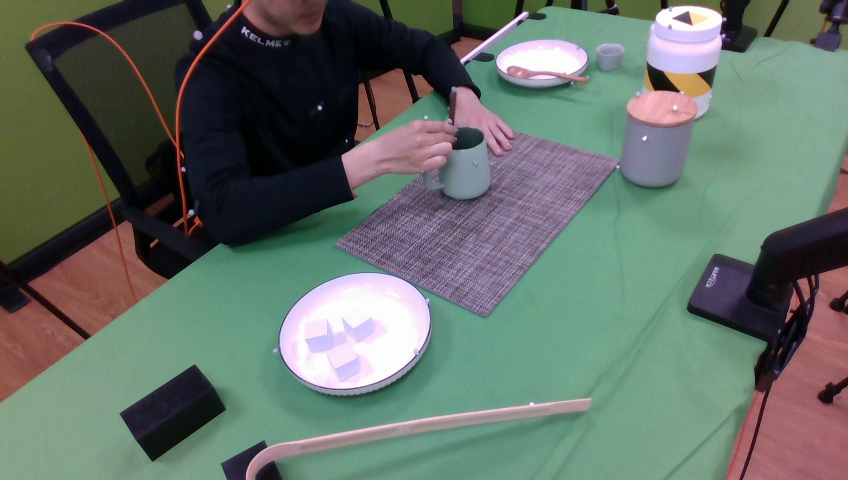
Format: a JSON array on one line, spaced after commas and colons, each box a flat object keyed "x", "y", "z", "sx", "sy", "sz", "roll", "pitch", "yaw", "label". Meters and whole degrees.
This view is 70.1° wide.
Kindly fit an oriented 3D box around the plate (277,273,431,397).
[{"x": -0.091, "y": 0.129, "z": 0.821, "sx": 0.207, "sy": 0.039, "sz": 0.206, "roll": -4, "pitch": 40, "yaw": 4, "label": "plate"}]

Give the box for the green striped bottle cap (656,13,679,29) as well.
[{"x": 0.515, "y": -0.463, "z": 1.278, "sx": 0.044, "sy": 0.020, "sz": 0.044, "roll": -6, "pitch": 42, "yaw": 6, "label": "green striped bottle cap"}]

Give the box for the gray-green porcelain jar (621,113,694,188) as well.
[{"x": 0.390, "y": -0.161, "z": 1.020, "sx": 0.106, "sy": 0.127, "sz": 0.105, "roll": -4, "pitch": 41, "yaw": 4, "label": "gray-green porcelain jar"}]

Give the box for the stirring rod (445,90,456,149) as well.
[{"x": 0.042, "y": -0.167, "z": 1.011, "sx": 0.006, "sy": 0.176, "sz": 0.014, "roll": 24, "pitch": 42, "yaw": 25, "label": "stirring rod"}]

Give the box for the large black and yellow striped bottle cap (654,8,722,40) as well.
[{"x": 0.483, "y": -0.397, "z": 1.108, "sx": 0.115, "sy": 0.019, "sz": 0.114, "roll": -3, "pitch": 41, "yaw": 3, "label": "large black and yellow striped bottle cap"}]

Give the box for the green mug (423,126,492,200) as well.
[{"x": 0.055, "y": -0.125, "z": 1.039, "sx": 0.126, "sy": 0.105, "sz": 0.091, "roll": -25, "pitch": 44, "yaw": -19, "label": "green mug"}]

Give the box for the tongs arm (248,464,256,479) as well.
[{"x": 0.012, "y": 0.262, "z": 0.615, "sx": 0.385, "sy": 0.026, "sz": 0.050, "roll": 3, "pitch": 41, "yaw": -2, "label": "tongs arm"}]

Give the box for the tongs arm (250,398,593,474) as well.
[{"x": 0.008, "y": 0.212, "z": 0.675, "sx": 0.389, "sy": 0.028, "sz": 0.028, "roll": -5, "pitch": 46, "yaw": -11, "label": "tongs arm"}]

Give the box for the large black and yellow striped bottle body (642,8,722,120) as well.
[{"x": 0.493, "y": -0.334, "z": 1.161, "sx": 0.131, "sy": 0.185, "sz": 0.130, "roll": -4, "pitch": 41, "yaw": 4, "label": "large black and yellow striped bottle body"}]

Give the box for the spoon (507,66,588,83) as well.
[{"x": 0.265, "y": -0.357, "z": 1.311, "sx": 0.192, "sy": 0.022, "sz": 0.042, "roll": 18, "pitch": 47, "yaw": 38, "label": "spoon"}]

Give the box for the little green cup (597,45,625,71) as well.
[{"x": 0.422, "y": -0.413, "z": 1.375, "sx": 0.061, "sy": 0.039, "sz": 0.061, "roll": -3, "pitch": 41, "yaw": 3, "label": "little green cup"}]

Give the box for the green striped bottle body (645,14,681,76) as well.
[{"x": 0.520, "y": -0.424, "z": 1.312, "sx": 0.063, "sy": 0.120, "sz": 0.063, "roll": -4, "pitch": 41, "yaw": 4, "label": "green striped bottle body"}]

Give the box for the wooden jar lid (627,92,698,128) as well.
[{"x": 0.384, "y": -0.207, "z": 0.980, "sx": 0.108, "sy": 0.021, "sz": 0.108, "roll": -6, "pitch": 39, "yaw": 5, "label": "wooden jar lid"}]

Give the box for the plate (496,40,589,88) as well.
[{"x": 0.269, "y": -0.398, "z": 1.381, "sx": 0.209, "sy": 0.038, "sz": 0.208, "roll": -4, "pitch": 41, "yaw": 4, "label": "plate"}]
